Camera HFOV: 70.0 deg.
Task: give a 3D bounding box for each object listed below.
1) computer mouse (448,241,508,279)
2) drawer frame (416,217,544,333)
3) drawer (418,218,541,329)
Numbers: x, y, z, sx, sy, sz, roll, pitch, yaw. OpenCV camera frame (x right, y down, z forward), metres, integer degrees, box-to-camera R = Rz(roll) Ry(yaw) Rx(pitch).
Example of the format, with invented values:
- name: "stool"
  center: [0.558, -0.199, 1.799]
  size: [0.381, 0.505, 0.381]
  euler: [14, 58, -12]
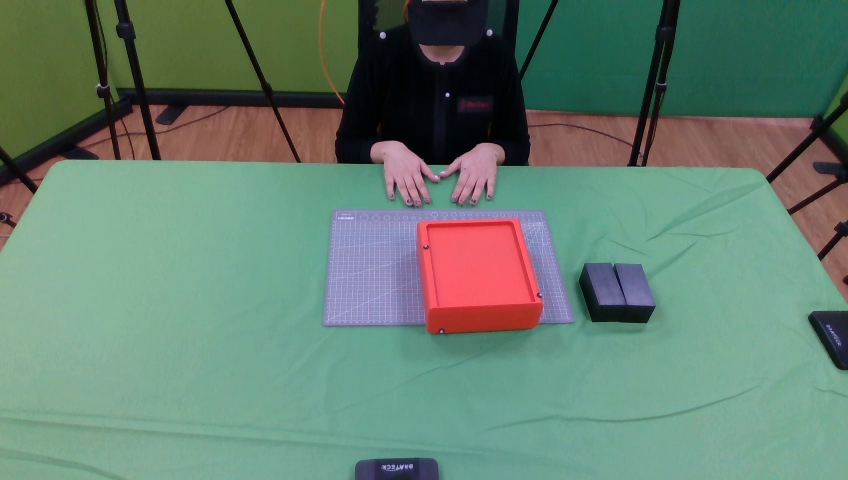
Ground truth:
- name: "computer mouse"
  center: [0.102, 0.036, 1.130]
  size: [0.117, 0.041, 0.062]
  euler: [11, 43, -13]
- name: "drawer frame"
  center: [0.094, 0.058, 1.104]
  size: [0.202, 0.083, 0.212]
  euler: [-2, 47, -7]
- name: "drawer"
  center: [0.094, 0.057, 1.107]
  size: [0.195, 0.073, 0.210]
  euler: [-1, 47, -6]
